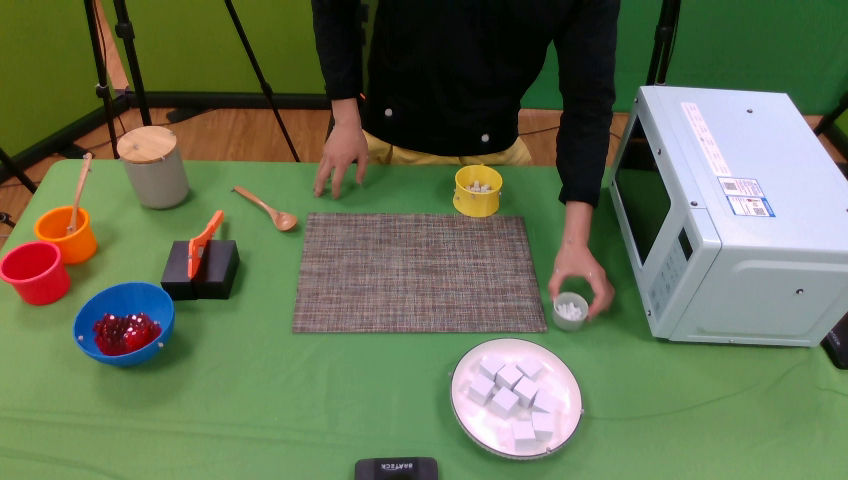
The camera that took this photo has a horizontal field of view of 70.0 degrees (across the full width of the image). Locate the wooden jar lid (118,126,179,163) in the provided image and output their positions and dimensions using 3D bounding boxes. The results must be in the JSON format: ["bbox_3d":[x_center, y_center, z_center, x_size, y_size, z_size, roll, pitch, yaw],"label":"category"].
[{"bbox_3d":[-0.528,-0.181,1.167,0.108,0.021,0.107,3,47,-4],"label":"wooden jar lid"}]

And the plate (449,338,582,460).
[{"bbox_3d":[0.141,0.251,0.956,0.208,0.039,0.206,2,46,-2],"label":"plate"}]

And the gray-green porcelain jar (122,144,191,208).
[{"bbox_3d":[-0.531,-0.137,1.213,0.106,0.127,0.105,2,47,-2],"label":"gray-green porcelain jar"}]

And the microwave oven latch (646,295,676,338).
[{"bbox_3d":[0.412,0.133,1.061,0.030,0.029,0.078,3,46,0],"label":"microwave oven latch"}]

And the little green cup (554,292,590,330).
[{"bbox_3d":[0.259,0.126,1.070,0.061,0.039,0.061,3,42,-2],"label":"little green cup"}]

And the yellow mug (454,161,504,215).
[{"bbox_3d":[0.117,-0.119,1.283,0.100,0.064,0.130,9,44,5],"label":"yellow mug"}]

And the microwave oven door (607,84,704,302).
[{"bbox_3d":[0.424,-0.096,1.138,0.039,0.245,0.353,3,47,-1],"label":"microwave oven door"}]

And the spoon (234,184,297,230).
[{"bbox_3d":[-0.327,-0.073,1.239,0.193,0.022,0.041,34,70,25],"label":"spoon"}]

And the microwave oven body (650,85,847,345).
[{"bbox_3d":[0.569,-0.054,1.116,0.326,0.261,0.439,2,46,-1],"label":"microwave oven body"}]

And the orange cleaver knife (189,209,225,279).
[{"bbox_3d":[-0.400,0.002,1.122,0.012,0.077,0.210,4,23,-4],"label":"orange cleaver knife"}]

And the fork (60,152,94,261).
[{"bbox_3d":[-0.638,-0.063,1.120,0.028,0.018,0.207,12,90,6],"label":"fork"}]

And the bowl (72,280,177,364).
[{"bbox_3d":[-0.473,0.147,0.982,0.151,0.077,0.150,2,46,-2],"label":"bowl"}]
